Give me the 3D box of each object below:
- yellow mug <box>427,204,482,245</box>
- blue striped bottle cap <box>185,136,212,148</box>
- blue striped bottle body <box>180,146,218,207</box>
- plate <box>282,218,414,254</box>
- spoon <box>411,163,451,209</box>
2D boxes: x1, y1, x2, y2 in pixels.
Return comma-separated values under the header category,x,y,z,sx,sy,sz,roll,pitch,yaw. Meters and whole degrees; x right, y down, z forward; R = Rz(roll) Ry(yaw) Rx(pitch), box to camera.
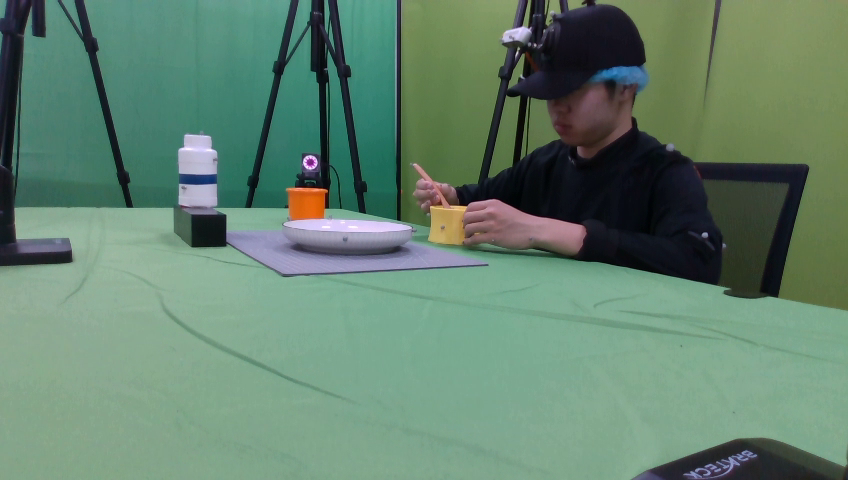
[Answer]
category,x,y,z,sx,sy,sz,roll,pitch,yaw
yellow mug,0.063,-0.028,1.111,0.100,0.064,0.130,0,9,-21
blue striped bottle cap,-0.390,-0.169,1.047,0.044,0.020,0.044,4,10,0
blue striped bottle body,-0.392,-0.118,1.053,0.063,0.120,0.063,2,8,0
plate,-0.121,-0.007,0.971,0.208,0.039,0.207,2,7,0
spoon,0.027,-0.083,1.142,0.042,0.021,0.193,-9,55,-35
